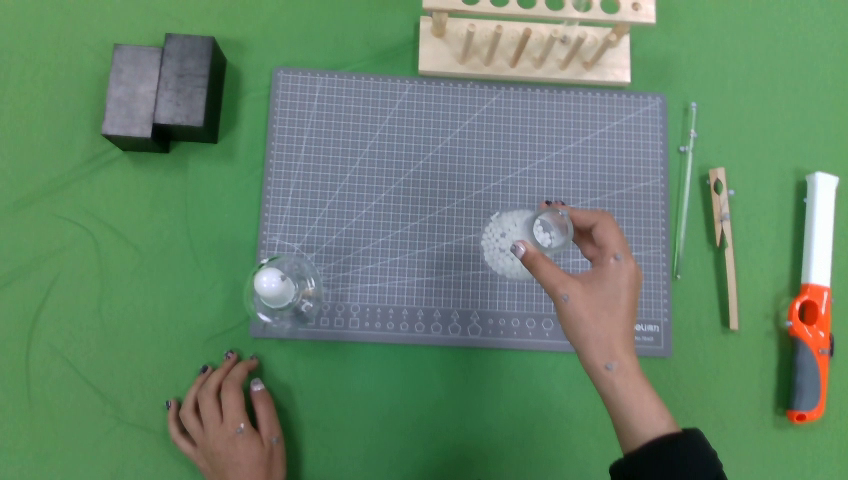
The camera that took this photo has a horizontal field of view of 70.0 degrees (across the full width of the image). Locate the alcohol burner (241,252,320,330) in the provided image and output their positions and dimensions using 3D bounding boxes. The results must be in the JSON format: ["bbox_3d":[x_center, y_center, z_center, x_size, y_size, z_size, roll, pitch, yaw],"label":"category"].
[{"bbox_3d":[-0.141,0.047,0.586,0.078,0.119,0.077,0,79,-2],"label":"alcohol burner"}]

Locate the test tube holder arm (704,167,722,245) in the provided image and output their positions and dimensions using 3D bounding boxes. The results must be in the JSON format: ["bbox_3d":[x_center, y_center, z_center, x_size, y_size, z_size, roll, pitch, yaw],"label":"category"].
[{"bbox_3d":[0.327,-0.038,0.681,0.010,0.015,0.087,-9,80,32],"label":"test tube holder arm"}]

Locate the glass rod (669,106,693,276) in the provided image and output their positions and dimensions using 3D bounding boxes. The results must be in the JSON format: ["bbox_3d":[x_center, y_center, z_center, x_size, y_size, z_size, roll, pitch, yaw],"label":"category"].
[{"bbox_3d":[0.291,-0.057,0.686,0.008,0.008,0.199,10,83,-2],"label":"glass rod"}]

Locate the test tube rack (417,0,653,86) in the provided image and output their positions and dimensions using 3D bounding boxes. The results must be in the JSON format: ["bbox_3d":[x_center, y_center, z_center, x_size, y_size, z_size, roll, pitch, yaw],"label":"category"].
[{"bbox_3d":[0.115,-0.224,0.664,0.242,0.085,0.066,2,80,-3],"label":"test tube rack"}]

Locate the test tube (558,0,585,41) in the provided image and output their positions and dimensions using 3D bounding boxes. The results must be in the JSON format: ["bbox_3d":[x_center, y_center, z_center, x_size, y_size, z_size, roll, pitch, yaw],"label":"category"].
[{"bbox_3d":[0.159,-0.249,0.620,0.017,0.151,0.017,0,78,1],"label":"test tube"}]

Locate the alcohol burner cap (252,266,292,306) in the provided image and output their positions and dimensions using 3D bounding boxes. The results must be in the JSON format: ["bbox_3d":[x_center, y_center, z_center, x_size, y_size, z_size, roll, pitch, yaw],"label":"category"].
[{"bbox_3d":[-0.140,0.039,0.551,0.034,0.048,0.033,1,72,-3],"label":"alcohol burner cap"}]

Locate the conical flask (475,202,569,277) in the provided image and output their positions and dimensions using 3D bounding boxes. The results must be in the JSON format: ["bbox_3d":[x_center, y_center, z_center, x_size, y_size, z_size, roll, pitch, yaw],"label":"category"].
[{"bbox_3d":[0.092,-0.006,0.544,0.075,0.122,0.075,1,85,-6],"label":"conical flask"}]

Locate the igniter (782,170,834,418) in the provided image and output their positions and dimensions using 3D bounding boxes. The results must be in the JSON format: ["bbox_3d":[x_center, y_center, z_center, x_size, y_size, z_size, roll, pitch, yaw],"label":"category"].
[{"bbox_3d":[0.424,0.057,0.666,0.057,0.025,0.275,13,80,-11],"label":"igniter"}]

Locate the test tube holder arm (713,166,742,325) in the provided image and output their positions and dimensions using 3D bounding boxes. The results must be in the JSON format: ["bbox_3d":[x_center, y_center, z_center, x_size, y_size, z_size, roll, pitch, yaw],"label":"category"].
[{"bbox_3d":[0.335,0.006,0.672,0.013,0.015,0.177,-11,79,32],"label":"test tube holder arm"}]
